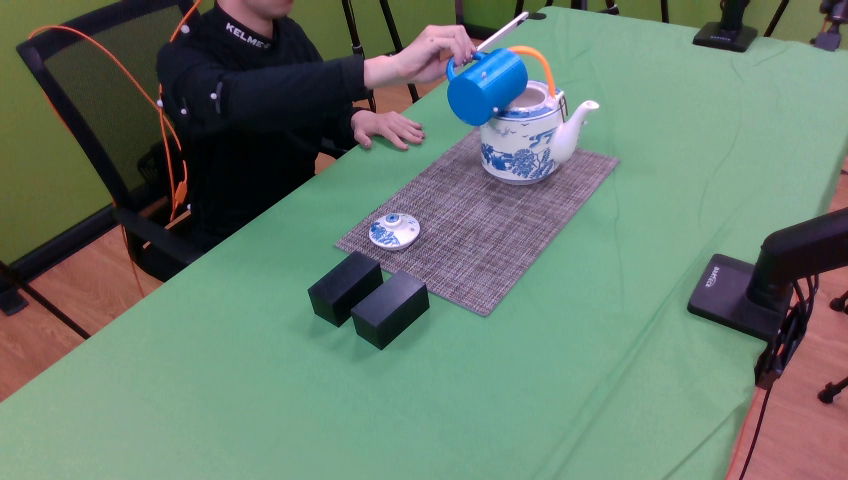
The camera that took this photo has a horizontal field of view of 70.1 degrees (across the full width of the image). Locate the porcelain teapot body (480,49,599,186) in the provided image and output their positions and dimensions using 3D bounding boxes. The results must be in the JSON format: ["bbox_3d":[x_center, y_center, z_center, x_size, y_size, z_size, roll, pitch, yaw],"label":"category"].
[{"bbox_3d":[0.193,-0.208,1.024,0.204,0.226,0.145,16,46,25],"label":"porcelain teapot body"}]

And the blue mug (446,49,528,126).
[{"bbox_3d":[0.088,-0.250,0.945,0.116,0.082,0.106,45,58,6],"label":"blue mug"}]

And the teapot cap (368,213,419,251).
[{"bbox_3d":[-0.050,-0.019,0.975,0.085,0.044,0.085,-4,43,4],"label":"teapot cap"}]
